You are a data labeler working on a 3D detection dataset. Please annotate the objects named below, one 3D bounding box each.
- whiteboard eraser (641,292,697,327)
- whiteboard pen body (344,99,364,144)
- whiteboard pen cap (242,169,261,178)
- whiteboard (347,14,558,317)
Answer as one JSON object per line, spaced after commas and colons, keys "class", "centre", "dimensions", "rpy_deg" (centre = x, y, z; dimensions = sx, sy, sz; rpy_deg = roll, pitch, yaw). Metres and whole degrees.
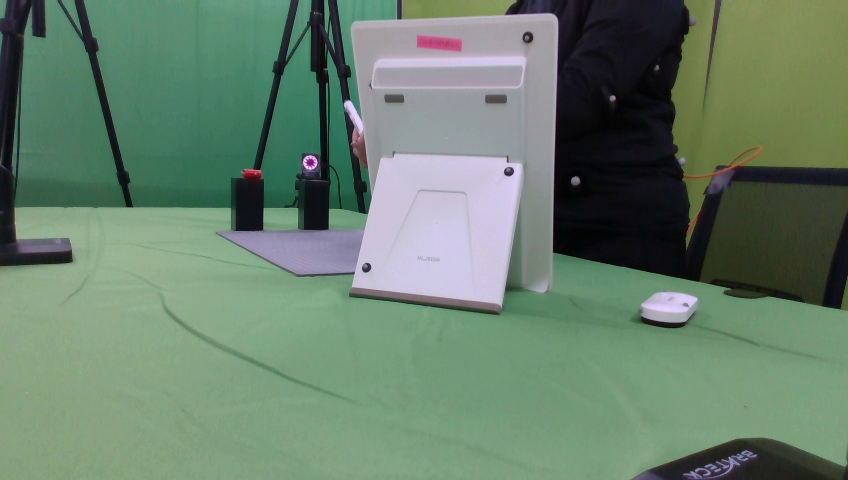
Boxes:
{"class": "whiteboard eraser", "centre": [0.240, 0.066, 0.590], "dimensions": [0.041, 0.019, 0.102], "rpy_deg": [6, 7, 31]}
{"class": "whiteboard pen body", "centre": [-0.109, -0.192, 1.032], "dimensions": [0.017, 0.017, 0.140], "rpy_deg": [-2, 50, -35]}
{"class": "whiteboard pen cap", "centre": [-0.326, -0.126, 1.144], "dimensions": [0.032, 0.017, 0.017], "rpy_deg": [0, 8, -36]}
{"class": "whiteboard", "centre": [0.012, -0.056, 0.609], "dimensions": [0.216, 0.305, 0.144], "rpy_deg": [5, 27, 20]}
